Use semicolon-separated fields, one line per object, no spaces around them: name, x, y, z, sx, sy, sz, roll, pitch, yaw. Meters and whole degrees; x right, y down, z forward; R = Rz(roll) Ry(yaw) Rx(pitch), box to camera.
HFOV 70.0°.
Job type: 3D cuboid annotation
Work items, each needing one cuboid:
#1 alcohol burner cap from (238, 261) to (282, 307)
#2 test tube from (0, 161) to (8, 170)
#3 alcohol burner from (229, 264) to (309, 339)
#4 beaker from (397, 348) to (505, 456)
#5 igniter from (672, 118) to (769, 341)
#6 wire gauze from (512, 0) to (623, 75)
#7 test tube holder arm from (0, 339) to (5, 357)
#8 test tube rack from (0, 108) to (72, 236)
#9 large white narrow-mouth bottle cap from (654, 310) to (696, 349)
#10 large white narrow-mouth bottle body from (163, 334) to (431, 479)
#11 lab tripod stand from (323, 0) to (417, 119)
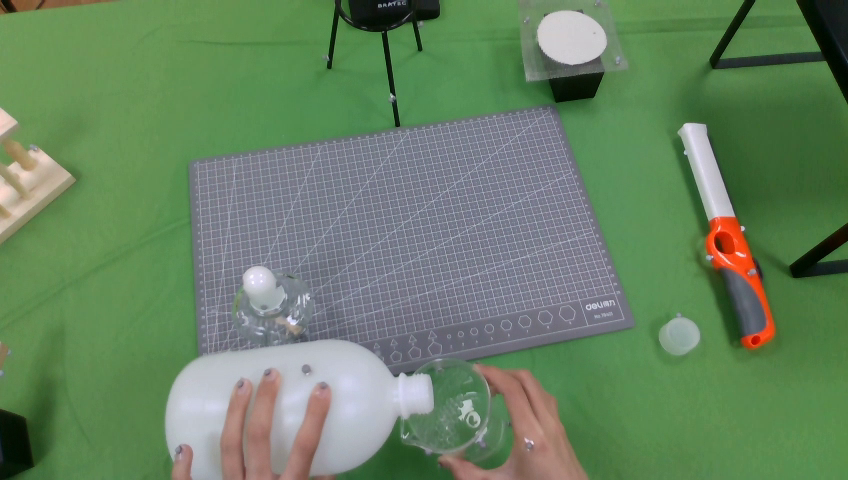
alcohol burner cap;-0.151;0.038;0.552;0.034;0.048;0.033;-1;60;2
test tube;-0.476;-0.109;0.613;0.017;0.151;0.017;-1;64;2
alcohol burner;-0.152;0.053;0.585;0.078;0.120;0.077;1;63;-3
beaker;0.026;0.145;0.518;0.084;0.101;0.073;-38;60;-2
igniter;0.331;-0.020;0.683;0.057;0.025;0.274;0;65;-13
wire gauze;0.172;-0.255;0.743;0.121;0.011;0.124;-3;65;-3
test tube holder arm;-0.401;0.171;0.525;0.013;0.015;0.177;-5;63;10
test tube rack;-0.505;-0.025;0.628;0.066;0.086;0.242;36;69;14
large white narrow-mouth bottle cap;0.261;0.093;0.634;0.038;0.024;0.037;1;65;-1
large white narrow-mouth bottle body;-0.091;0.126;0.474;0.194;0.102;0.101;-8;65;7
lab tripod stand;-0.056;-0.238;0.714;0.148;0.132;0.147;1;66;-3
